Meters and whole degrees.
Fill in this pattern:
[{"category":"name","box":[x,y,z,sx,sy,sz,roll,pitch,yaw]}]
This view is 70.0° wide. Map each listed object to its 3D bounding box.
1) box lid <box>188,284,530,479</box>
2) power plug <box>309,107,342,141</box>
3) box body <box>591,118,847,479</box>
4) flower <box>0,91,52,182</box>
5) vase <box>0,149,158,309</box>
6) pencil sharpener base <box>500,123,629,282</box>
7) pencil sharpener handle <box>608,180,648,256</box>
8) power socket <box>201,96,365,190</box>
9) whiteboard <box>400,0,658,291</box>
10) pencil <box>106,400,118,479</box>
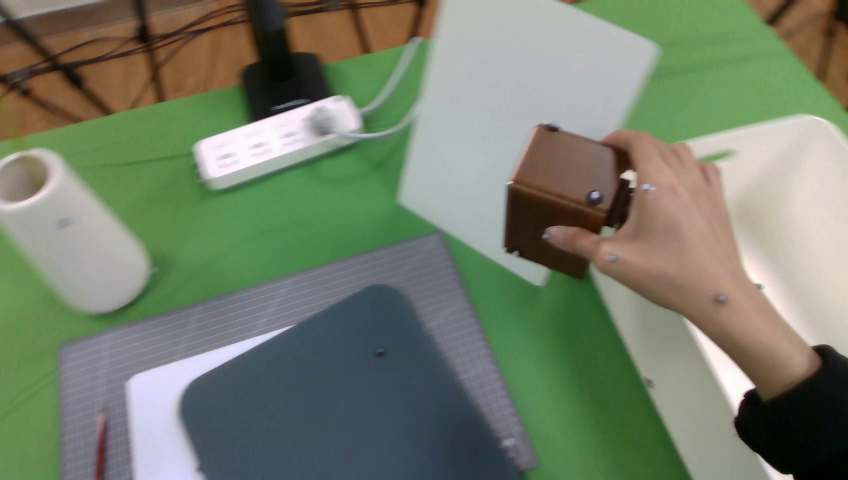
[{"category":"box lid","box":[-0.052,0.231,0.597,0.263,0.015,0.368,-27,63,-16]},{"category":"power plug","box":[-0.127,-0.140,0.787,0.035,0.053,0.072,-13,60,-7]},{"category":"box body","box":[0.352,0.082,0.598,0.254,0.162,0.360,-14,59,-8]},{"category":"flower","box":[-0.362,-0.065,0.576,0.038,0.365,0.043,-27,43,-23]},{"category":"vase","box":[-0.361,-0.006,0.635,0.098,0.202,0.097,-1,58,2]},{"category":"pencil sharpener base","box":[0.104,-0.023,0.452,0.076,0.108,0.061,20,65,15]},{"category":"pencil sharpener handle","box":[0.149,-0.012,0.429,0.030,0.068,0.036,20,64,15]},{"category":"power socket","box":[-0.186,-0.131,0.809,0.227,0.033,0.071,-21,61,-13]},{"category":"whiteboard","box":[0.123,-0.134,0.685,0.216,0.307,0.143,32,45,19]},{"category":"pencil","box":[-0.306,0.247,0.588,0.012,0.012,0.192,-11,57,-5]}]
